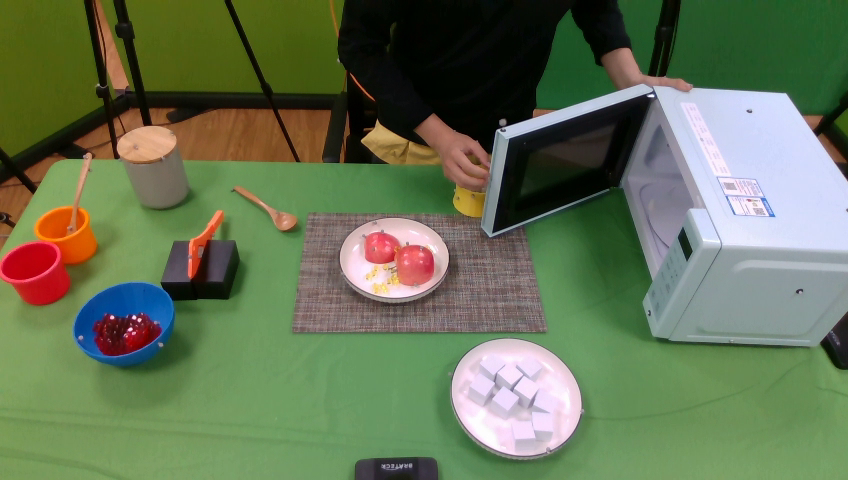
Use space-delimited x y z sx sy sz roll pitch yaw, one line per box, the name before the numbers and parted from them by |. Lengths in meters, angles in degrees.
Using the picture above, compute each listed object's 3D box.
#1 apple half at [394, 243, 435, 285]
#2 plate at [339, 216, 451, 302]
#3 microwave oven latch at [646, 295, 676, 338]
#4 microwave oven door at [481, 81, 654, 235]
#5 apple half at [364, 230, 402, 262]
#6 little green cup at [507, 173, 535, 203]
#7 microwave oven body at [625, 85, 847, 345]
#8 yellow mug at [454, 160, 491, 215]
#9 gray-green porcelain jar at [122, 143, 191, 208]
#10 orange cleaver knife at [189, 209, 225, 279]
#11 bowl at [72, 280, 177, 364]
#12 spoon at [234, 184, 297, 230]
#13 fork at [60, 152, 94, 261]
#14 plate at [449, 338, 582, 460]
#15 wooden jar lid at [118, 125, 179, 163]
apple half | -0.016 0.036 1.120 0.075 0.053 0.080 1 46 -6
plate | -0.054 0.038 1.138 0.209 0.038 0.208 2 46 -2
microwave oven latch | 0.412 0.133 1.060 0.030 0.029 0.078 3 46 0
microwave oven door | 0.282 -0.161 1.191 0.356 0.245 0.039 -21 51 -22
apple half | -0.079 0.004 1.159 0.081 0.033 0.081 3 49 -3
little green cup | 0.206 -0.110 1.302 0.061 0.039 0.061 2 48 -2
microwave oven body | 0.568 -0.054 1.116 0.326 0.261 0.439 2 46 -1
yellow mug | 0.117 -0.119 1.285 0.100 0.064 0.130 8 44 4
gray-green porcelain jar | -0.531 -0.137 1.214 0.106 0.127 0.105 2 47 -2
orange cleaver knife | -0.400 0.002 1.122 0.012 0.077 0.210 4 23 -4
bowl | -0.472 0.147 0.982 0.151 0.077 0.150 2 46 -2
spoon | -0.327 -0.073 1.239 0.193 0.022 0.041 34 71 25
fork | -0.638 -0.063 1.120 0.028 0.018 0.207 12 90 7
plate | 0.141 0.251 0.956 0.208 0.039 0.206 2 47 -2
wooden jar lid | -0.528 -0.181 1.167 0.108 0.021 0.107 4 48 -4
